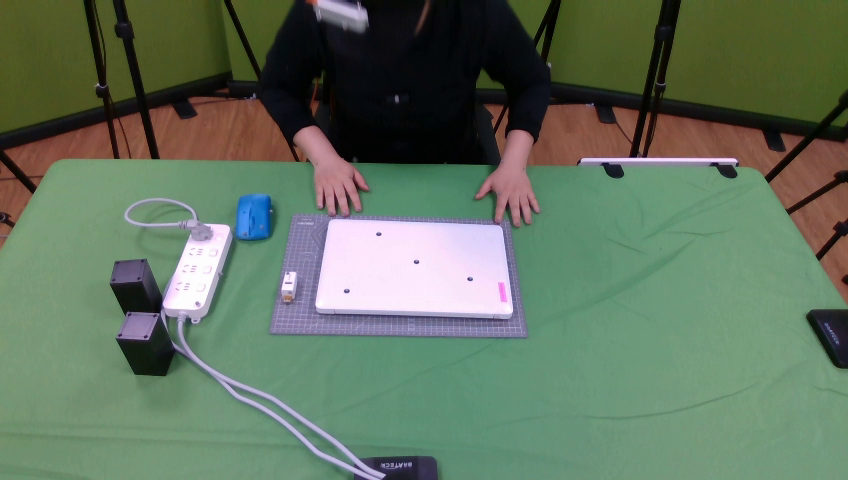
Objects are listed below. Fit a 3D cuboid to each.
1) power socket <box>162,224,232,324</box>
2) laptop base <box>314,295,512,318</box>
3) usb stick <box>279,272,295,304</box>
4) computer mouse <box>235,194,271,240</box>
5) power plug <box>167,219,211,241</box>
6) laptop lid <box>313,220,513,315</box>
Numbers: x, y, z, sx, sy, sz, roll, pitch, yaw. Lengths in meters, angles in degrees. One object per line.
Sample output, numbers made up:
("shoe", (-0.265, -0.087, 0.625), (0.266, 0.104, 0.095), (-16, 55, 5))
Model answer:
("power socket", (-0.411, 0.052, 1.107), (0.072, 0.033, 0.225), (4, 45, -2))
("laptop base", (-0.018, 0.055, 1.144), (0.354, 0.023, 0.234), (2, 42, -2))
("usb stick", (-0.246, 0.088, 1.085), (0.021, 0.027, 0.059), (5, 47, -4))
("computer mouse", (-0.341, -0.049, 1.208), (0.063, 0.041, 0.116), (0, 50, -8))
("power plug", (-0.438, -0.017, 1.144), (0.072, 0.053, 0.035), (10, 43, 7))
("laptop lid", (-0.017, 0.045, 1.138), (0.357, 0.013, 0.240), (3, 43, -1))
